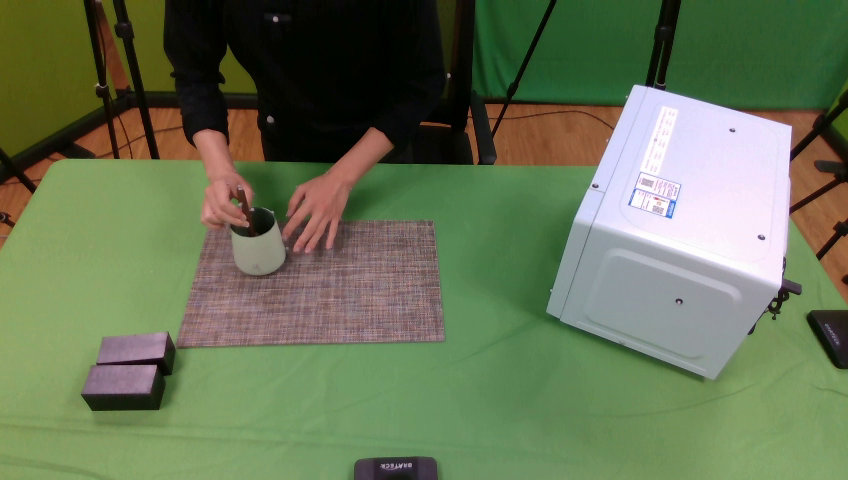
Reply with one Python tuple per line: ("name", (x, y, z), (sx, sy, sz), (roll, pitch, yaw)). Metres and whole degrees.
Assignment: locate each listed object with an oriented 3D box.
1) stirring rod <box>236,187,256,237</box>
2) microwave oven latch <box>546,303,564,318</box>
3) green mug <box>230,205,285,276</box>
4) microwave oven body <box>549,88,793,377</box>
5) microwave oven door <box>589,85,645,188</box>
("stirring rod", (-0.301, -0.022, 1.045), (0.014, 0.177, 0.006), (17, 47, 15))
("microwave oven latch", (0.242, 0.102, 1.081), (0.030, 0.029, 0.079), (22, 48, 17))
("green mug", (-0.311, -0.008, 1.118), (0.092, 0.105, 0.124), (-14, 49, -16))
("microwave oven body", (0.456, -0.028, 1.087), (0.325, 0.261, 0.440), (20, 47, 16))
("microwave oven door", (0.342, -0.107, 1.148), (0.039, 0.245, 0.354), (20, 48, 15))
